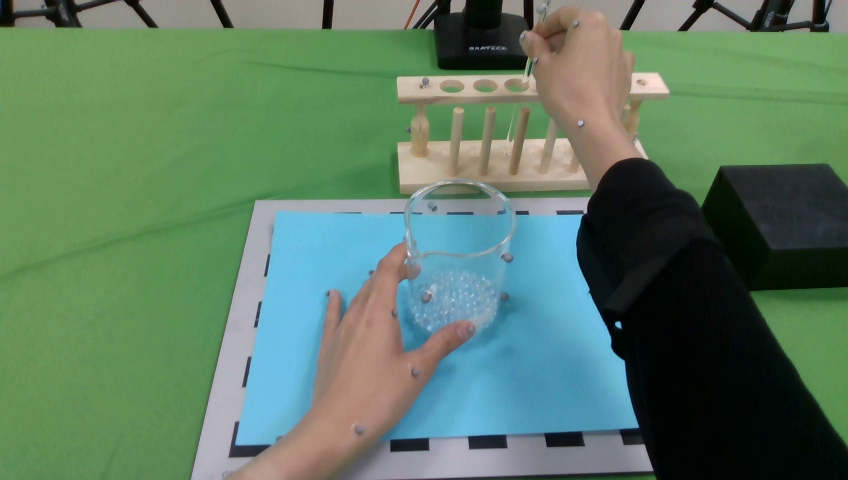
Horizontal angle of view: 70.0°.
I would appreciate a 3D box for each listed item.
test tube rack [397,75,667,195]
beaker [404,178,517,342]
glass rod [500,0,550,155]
[{"bbox_3d":[0.097,-0.097,0.562,0.243,0.086,0.066,-2,46,-4],"label":"test tube rack"},{"bbox_3d":[0.021,0.020,0.428,0.073,0.101,0.084,36,55,29],"label":"beaker"},{"bbox_3d":[0.089,-0.151,0.521,0.008,0.201,0.008,5,48,-5],"label":"glass rod"}]
